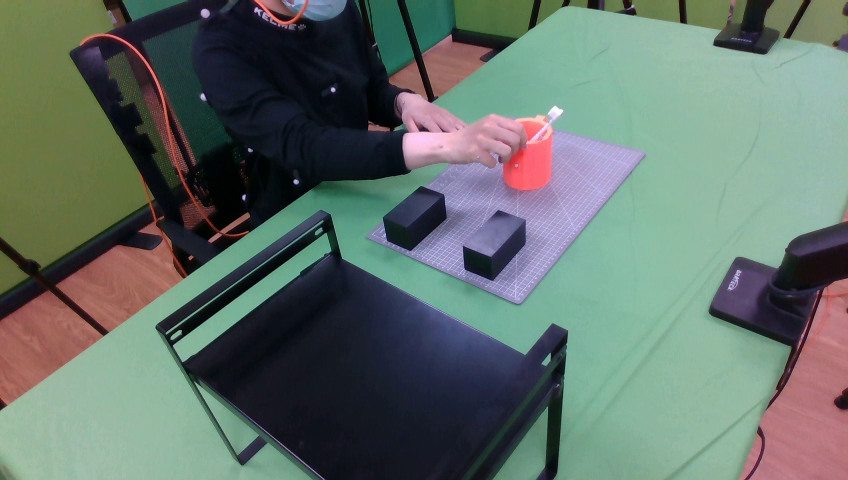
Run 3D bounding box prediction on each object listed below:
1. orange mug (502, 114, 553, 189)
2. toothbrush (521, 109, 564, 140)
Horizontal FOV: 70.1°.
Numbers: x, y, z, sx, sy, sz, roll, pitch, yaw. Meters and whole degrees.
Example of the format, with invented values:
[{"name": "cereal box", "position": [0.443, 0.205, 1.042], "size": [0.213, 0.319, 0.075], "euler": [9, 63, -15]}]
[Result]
[{"name": "orange mug", "position": [0.190, -0.164, 1.071], "size": [0.083, 0.101, 0.126], "euler": [16, 50, 25]}, {"name": "toothbrush", "position": [0.185, -0.181, 1.016], "size": [0.017, 0.181, 0.014], "euler": [-4, 81, -16]}]
